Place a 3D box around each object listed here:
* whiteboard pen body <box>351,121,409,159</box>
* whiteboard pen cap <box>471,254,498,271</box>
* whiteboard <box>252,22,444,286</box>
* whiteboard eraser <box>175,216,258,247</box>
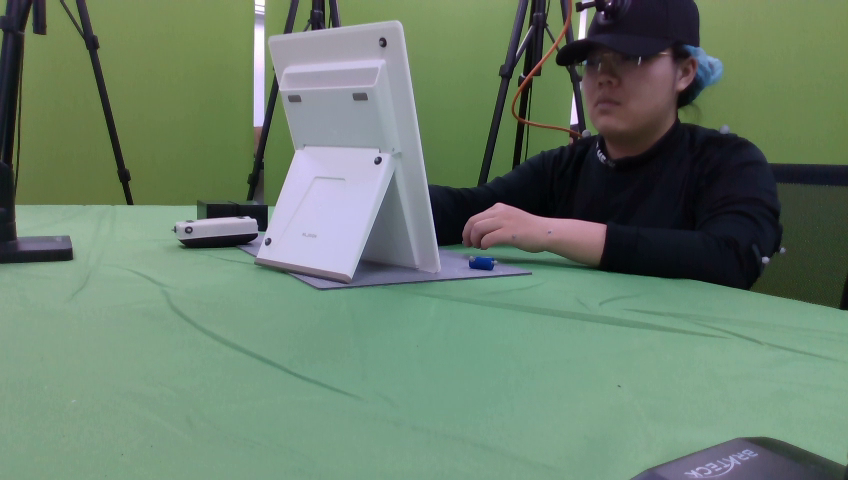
[{"bbox_3d":[-0.059,-0.135,0.821,0.017,0.017,0.141,7,30,28],"label":"whiteboard pen body"},{"bbox_3d":[0.080,0.031,0.799,0.033,0.018,0.018,19,3,-17],"label":"whiteboard pen cap"},{"bbox_3d":[-0.125,-0.080,0.714,0.216,0.305,0.144,9,29,36],"label":"whiteboard"},{"bbox_3d":[-0.314,-0.012,0.914,0.113,0.042,0.055,-5,12,-30],"label":"whiteboard eraser"}]
